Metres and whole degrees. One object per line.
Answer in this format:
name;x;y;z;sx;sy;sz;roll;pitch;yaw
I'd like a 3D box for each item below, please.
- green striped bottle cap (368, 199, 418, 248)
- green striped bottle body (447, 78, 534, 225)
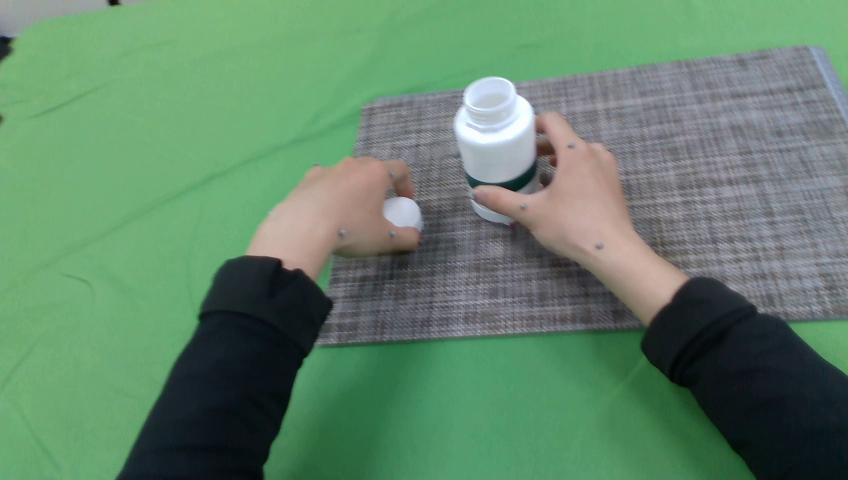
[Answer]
green striped bottle cap;-0.028;-0.015;0.544;0.044;0.020;0.044;-2;53;2
green striped bottle body;0.055;-0.073;0.498;0.063;0.120;0.062;-7;50;9
